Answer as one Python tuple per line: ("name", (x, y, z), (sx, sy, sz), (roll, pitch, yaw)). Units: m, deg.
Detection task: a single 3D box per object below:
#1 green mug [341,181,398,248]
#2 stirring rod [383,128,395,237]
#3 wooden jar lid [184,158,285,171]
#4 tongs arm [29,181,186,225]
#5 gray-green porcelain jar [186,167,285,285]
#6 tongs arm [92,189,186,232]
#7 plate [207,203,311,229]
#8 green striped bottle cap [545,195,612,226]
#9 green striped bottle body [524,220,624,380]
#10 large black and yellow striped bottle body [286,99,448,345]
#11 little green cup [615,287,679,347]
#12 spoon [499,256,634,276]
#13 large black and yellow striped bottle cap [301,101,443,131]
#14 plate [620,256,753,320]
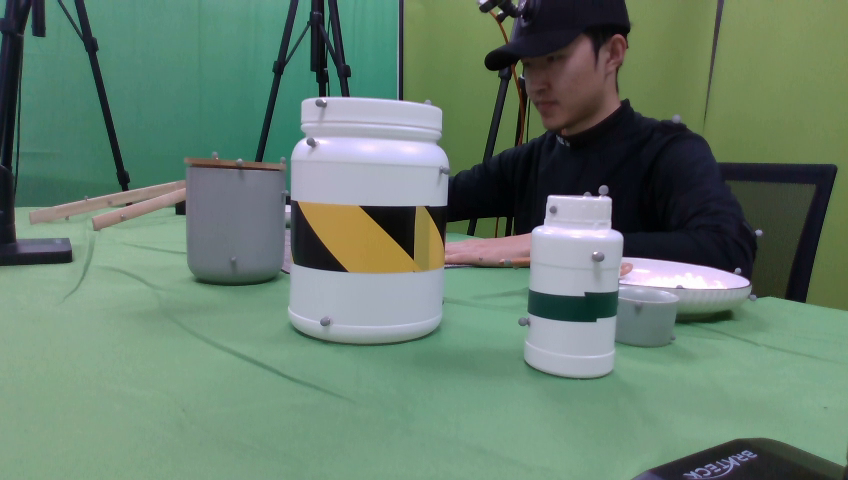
("green mug", (-0.089, -0.044, 0.997), (0.093, 0.105, 0.125), (1, 6, -8))
("stirring rod", (-0.056, -0.091, 0.975), (0.006, 0.176, 0.014), (-6, 14, -40))
("wooden jar lid", (-0.210, -0.078, 0.674), (0.108, 0.020, 0.108), (4, 6, 0))
("tongs arm", (-0.609, -0.083, 1.245), (0.050, 0.026, 0.386), (5, 16, 23))
("gray-green porcelain jar", (-0.212, -0.017, 0.682), (0.106, 0.126, 0.106), (2, 7, 0))
("tongs arm", (-0.534, -0.076, 1.221), (0.028, 0.028, 0.388), (-2, 15, 12))
("plate", (-0.342, -0.050, 1.259), (0.208, 0.039, 0.207), (3, 7, 0))
("green striped bottle cap", (0.106, -0.020, 0.414), (0.044, 0.020, 0.044), (2, 4, 0))
("green striped bottle body", (0.104, 0.031, 0.422), (0.063, 0.119, 0.063), (2, 8, 0))
("large black and yellow striped bottle body", (-0.047, -0.018, 0.501), (0.131, 0.184, 0.130), (2, 7, 0))
("little green cup", (0.180, 0.064, 0.506), (0.061, 0.038, 0.061), (1, 8, 0))
("spoon", (0.162, 0.027, 0.679), (0.195, 0.021, 0.041), (8, 2, -30))
("large black and yellow striped bottle cap", (-0.042, -0.100, 0.491), (0.115, 0.019, 0.115), (1, 8, 0))
("plate", (0.234, 0.049, 0.651), (0.209, 0.038, 0.209), (2, 7, 0))
